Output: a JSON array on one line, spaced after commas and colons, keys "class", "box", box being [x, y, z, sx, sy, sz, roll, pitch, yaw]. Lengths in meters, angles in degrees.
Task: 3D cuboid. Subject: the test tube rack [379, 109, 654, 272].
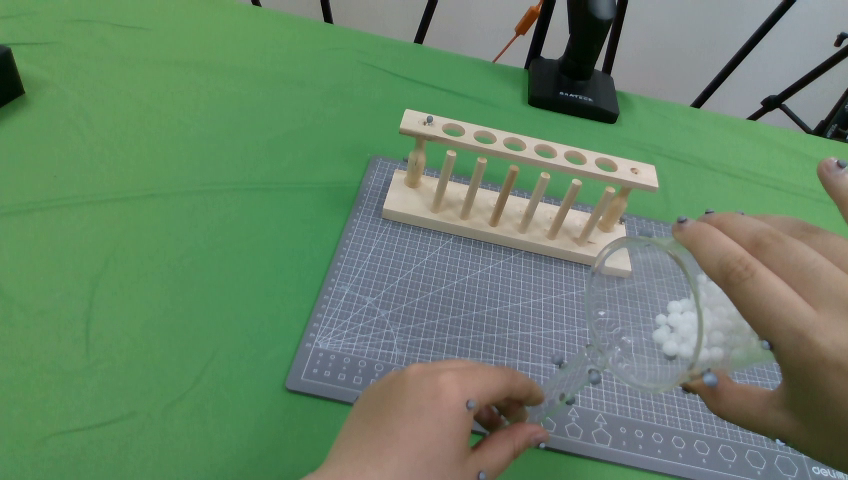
[{"class": "test tube rack", "box": [0.086, -0.046, 0.579, 0.242, 0.086, 0.066, 13, 43, -1]}]

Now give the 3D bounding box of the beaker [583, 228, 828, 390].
[{"class": "beaker", "box": [0.142, 0.033, 0.309, 0.101, 0.084, 0.073, -4, 52, -25]}]

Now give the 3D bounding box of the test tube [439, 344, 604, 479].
[{"class": "test tube", "box": [0.051, 0.109, 0.357, 0.017, 0.150, 0.017, 24, 35, -18]}]
